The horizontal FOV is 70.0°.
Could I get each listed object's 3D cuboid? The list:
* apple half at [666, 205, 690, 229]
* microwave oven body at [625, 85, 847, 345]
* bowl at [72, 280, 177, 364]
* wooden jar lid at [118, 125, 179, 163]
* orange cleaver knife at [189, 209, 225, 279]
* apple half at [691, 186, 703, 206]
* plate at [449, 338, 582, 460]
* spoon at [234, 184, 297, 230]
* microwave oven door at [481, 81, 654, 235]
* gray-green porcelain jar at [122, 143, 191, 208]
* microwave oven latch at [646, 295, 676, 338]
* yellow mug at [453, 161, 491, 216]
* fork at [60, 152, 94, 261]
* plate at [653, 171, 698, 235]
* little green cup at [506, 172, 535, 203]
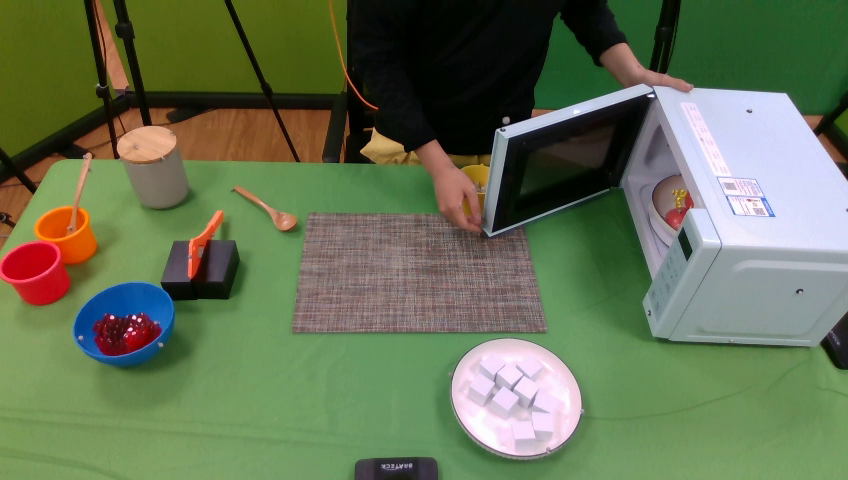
[{"bbox_3d":[0.507,-0.046,1.168,0.081,0.033,0.081,4,46,-4],"label":"apple half"},{"bbox_3d":[0.568,-0.054,1.116,0.326,0.261,0.439,2,46,-1],"label":"microwave oven body"},{"bbox_3d":[-0.472,0.147,0.982,0.151,0.077,0.150,2,46,-2],"label":"bowl"},{"bbox_3d":[-0.528,-0.181,1.167,0.108,0.021,0.107,4,48,-4],"label":"wooden jar lid"},{"bbox_3d":[-0.400,0.002,1.122,0.012,0.077,0.210,4,23,-4],"label":"orange cleaver knife"},{"bbox_3d":[0.570,-0.089,1.194,0.081,0.053,0.074,0,33,14],"label":"apple half"},{"bbox_3d":[0.141,0.251,0.956,0.208,0.039,0.206,2,46,-2],"label":"plate"},{"bbox_3d":[-0.327,-0.073,1.239,0.193,0.022,0.041,34,71,25],"label":"spoon"},{"bbox_3d":[0.281,-0.162,1.192,0.356,0.245,0.039,-21,51,-22],"label":"microwave oven door"},{"bbox_3d":[-0.531,-0.137,1.214,0.106,0.127,0.105,2,47,-2],"label":"gray-green porcelain jar"},{"bbox_3d":[0.412,0.133,1.060,0.030,0.029,0.078,3,46,0],"label":"microwave oven latch"},{"bbox_3d":[0.117,-0.119,1.286,0.100,0.064,0.130,9,44,2],"label":"yellow mug"},{"bbox_3d":[-0.638,-0.063,1.119,0.028,0.018,0.207,12,90,6],"label":"fork"},{"bbox_3d":[0.551,-0.054,1.188,0.209,0.038,0.208,2,47,-2],"label":"plate"},{"bbox_3d":[0.205,-0.111,1.302,0.061,0.039,0.061,3,47,-3],"label":"little green cup"}]
